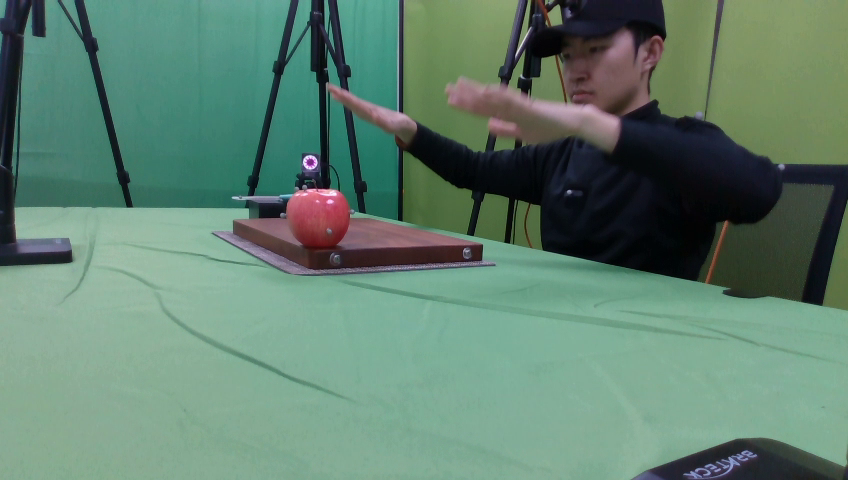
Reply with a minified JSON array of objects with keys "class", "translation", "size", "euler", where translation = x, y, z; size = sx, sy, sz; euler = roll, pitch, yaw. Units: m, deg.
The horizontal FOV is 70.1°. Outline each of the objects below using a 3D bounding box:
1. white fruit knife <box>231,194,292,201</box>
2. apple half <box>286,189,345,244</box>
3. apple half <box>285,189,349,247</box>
[{"class":"white fruit knife","translation":[-0.299,-0.089,1.283],"size":[0.208,0.016,0.027],"euler":[-3,-15,-17]},{"class":"apple half","translation":[-0.146,-0.033,0.801],"size":[0.081,0.081,0.032],"euler":[0,11,-22]},{"class":"apple half","translation":[-0.132,-0.026,0.765],"size":[0.081,0.074,0.053],"euler":[2,10,-22]}]
